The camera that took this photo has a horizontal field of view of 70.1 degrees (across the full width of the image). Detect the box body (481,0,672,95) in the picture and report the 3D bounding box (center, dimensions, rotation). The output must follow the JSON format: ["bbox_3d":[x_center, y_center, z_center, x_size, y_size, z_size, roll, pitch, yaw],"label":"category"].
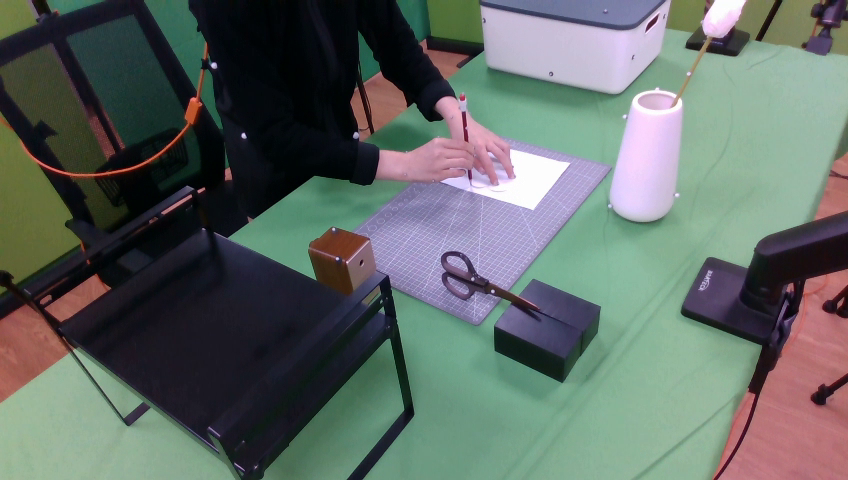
[{"bbox_3d":[0.341,-0.480,1.381,0.361,0.161,0.255,22,48,30],"label":"box body"}]

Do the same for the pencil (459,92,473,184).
[{"bbox_3d":[0.073,-0.165,1.018,0.012,0.195,0.012,-5,48,6],"label":"pencil"}]

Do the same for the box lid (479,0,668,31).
[{"bbox_3d":[0.335,-0.536,1.331,0.368,0.015,0.264,23,49,30],"label":"box lid"}]

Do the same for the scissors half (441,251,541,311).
[{"bbox_3d":[0.087,0.056,0.824,0.173,0.040,0.013,29,44,36],"label":"scissors half"}]

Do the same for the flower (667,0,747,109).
[{"bbox_3d":[0.354,-0.187,0.879,0.038,0.362,0.044,31,48,14],"label":"flower"}]

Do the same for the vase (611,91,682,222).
[{"bbox_3d":[0.348,-0.125,0.935,0.098,0.201,0.097,-3,40,3],"label":"vase"}]

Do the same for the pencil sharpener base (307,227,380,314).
[{"bbox_3d":[-0.116,0.043,0.875,0.076,0.107,0.061,18,47,27],"label":"pencil sharpener base"}]

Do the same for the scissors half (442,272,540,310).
[{"bbox_3d":[0.089,0.074,0.832,0.013,0.040,0.173,-24,23,-38],"label":"scissors half"}]

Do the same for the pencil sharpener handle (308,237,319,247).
[{"bbox_3d":[-0.159,0.017,0.892,0.030,0.068,0.036,18,61,28],"label":"pencil sharpener handle"}]
